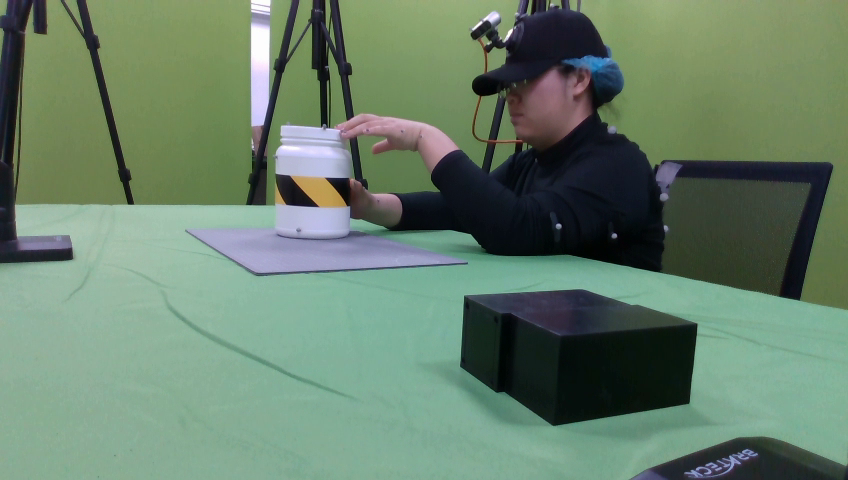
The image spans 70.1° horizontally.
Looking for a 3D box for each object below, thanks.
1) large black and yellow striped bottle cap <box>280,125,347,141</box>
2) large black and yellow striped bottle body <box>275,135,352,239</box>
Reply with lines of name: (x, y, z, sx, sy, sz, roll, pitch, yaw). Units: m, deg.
large black and yellow striped bottle cap: (-0.190, -0.184, 1.046, 0.115, 0.019, 0.115, 5, 7, 0)
large black and yellow striped bottle body: (-0.193, -0.099, 1.058, 0.131, 0.184, 0.130, 3, 8, 0)
